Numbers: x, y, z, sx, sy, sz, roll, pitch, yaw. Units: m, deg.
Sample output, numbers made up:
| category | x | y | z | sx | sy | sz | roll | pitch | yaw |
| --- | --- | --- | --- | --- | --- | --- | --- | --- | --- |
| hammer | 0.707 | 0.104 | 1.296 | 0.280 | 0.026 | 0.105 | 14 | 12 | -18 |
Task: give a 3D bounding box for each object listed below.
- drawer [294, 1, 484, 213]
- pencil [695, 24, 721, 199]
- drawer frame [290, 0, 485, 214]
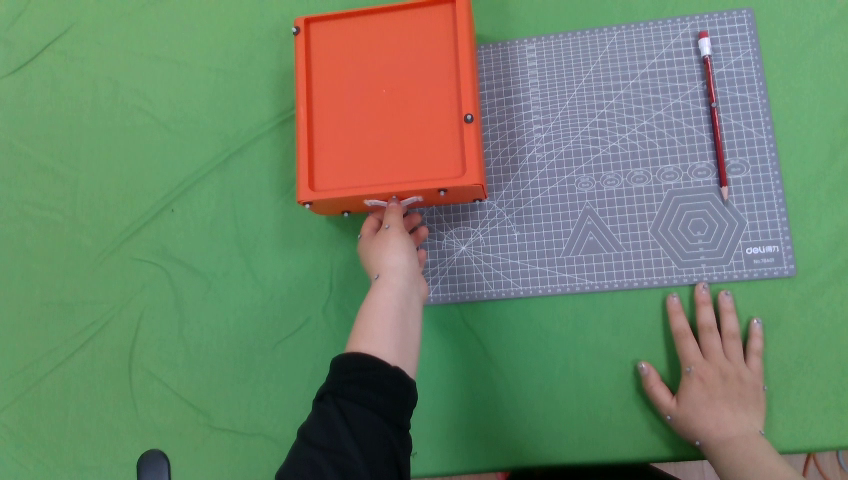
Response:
| category | x | y | z | sx | sy | sz | roll | pitch | yaw |
| --- | --- | --- | --- | --- | --- | --- | --- | --- | --- |
| drawer | -0.040 | -0.142 | 0.673 | 0.194 | 0.073 | 0.211 | -5 | 79 | 9 |
| pencil | 0.308 | -0.140 | 0.655 | 0.012 | 0.012 | 0.193 | -4 | 84 | 8 |
| drawer frame | -0.042 | -0.144 | 0.672 | 0.201 | 0.083 | 0.212 | -6 | 80 | 9 |
